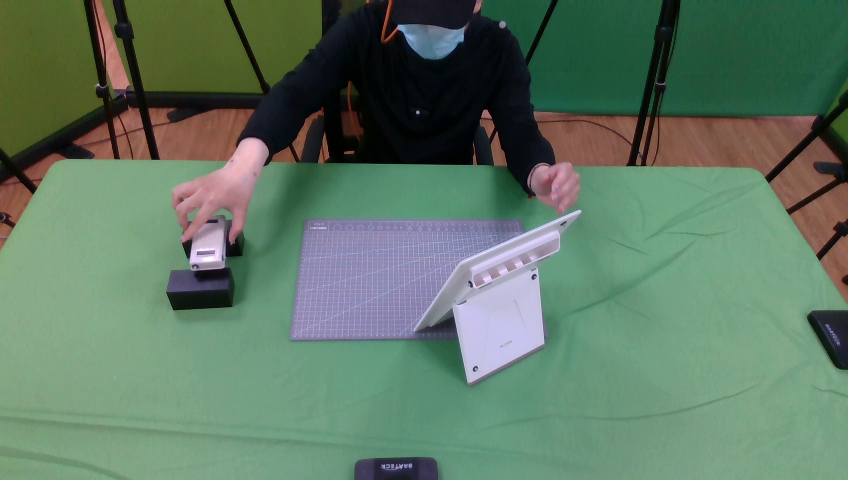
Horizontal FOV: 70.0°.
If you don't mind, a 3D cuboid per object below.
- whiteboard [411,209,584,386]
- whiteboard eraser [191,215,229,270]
[{"bbox_3d":[0.134,0.110,0.944,0.217,0.306,0.143,-21,72,-22],"label":"whiteboard"},{"bbox_3d":[-0.381,0.006,1.083,0.056,0.042,0.112,-1,49,-11],"label":"whiteboard eraser"}]
